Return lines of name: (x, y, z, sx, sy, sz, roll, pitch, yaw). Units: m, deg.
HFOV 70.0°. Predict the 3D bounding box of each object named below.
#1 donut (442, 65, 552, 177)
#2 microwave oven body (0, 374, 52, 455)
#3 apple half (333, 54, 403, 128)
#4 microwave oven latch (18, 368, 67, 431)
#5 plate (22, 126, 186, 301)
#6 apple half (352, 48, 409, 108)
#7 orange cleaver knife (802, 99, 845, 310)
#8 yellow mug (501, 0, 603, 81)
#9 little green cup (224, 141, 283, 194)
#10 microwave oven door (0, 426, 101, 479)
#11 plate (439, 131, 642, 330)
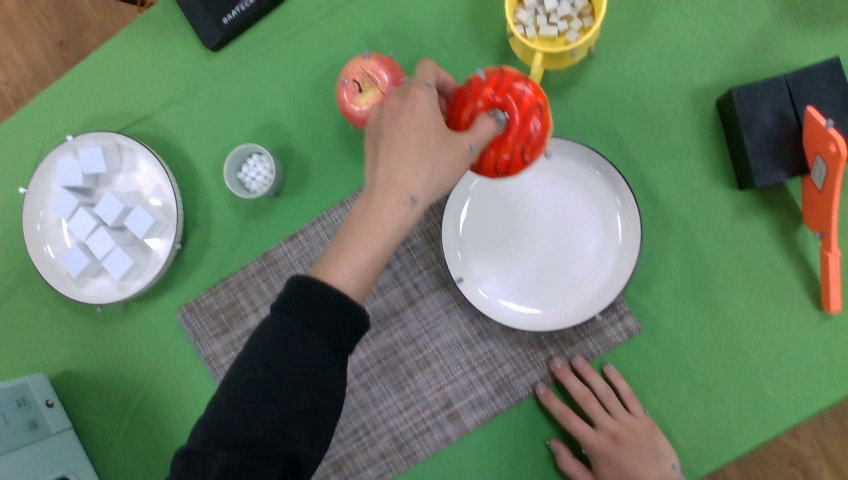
donut: (0.064, -0.105, 0.541, 0.098, 0.048, 0.099, 4, 101, 20)
microwave oven body: (-0.518, 0.421, 0.642, 0.326, 0.260, 0.441, -30, 86, 8)
apple half: (-0.067, -0.154, 0.659, 0.053, 0.074, 0.080, -42, 88, 12)
microwave oven latch: (-0.463, 0.194, 0.728, 0.030, 0.029, 0.079, -27, 87, 8)
plate: (-0.379, -0.031, 0.730, 0.207, 0.039, 0.207, 0, 91, 9)
apple half: (-0.038, -0.180, 0.653, 0.033, 0.081, 0.081, -42, 84, 12)
orange cleaver knife: (0.381, -0.029, 0.583, 0.012, 0.076, 0.213, -13, 118, 13)
yellow mug: (0.127, -0.224, 0.629, 0.100, 0.064, 0.131, 15, 94, 9)
little green cup: (-0.194, -0.081, 0.698, 0.061, 0.039, 0.061, 0, 90, 10)
microwave oven door: (-0.373, 0.385, 0.613, 0.039, 0.244, 0.355, -31, 85, 8)
plate: (0.121, -0.011, 0.644, 0.209, 0.038, 0.209, 0, 91, 10)
